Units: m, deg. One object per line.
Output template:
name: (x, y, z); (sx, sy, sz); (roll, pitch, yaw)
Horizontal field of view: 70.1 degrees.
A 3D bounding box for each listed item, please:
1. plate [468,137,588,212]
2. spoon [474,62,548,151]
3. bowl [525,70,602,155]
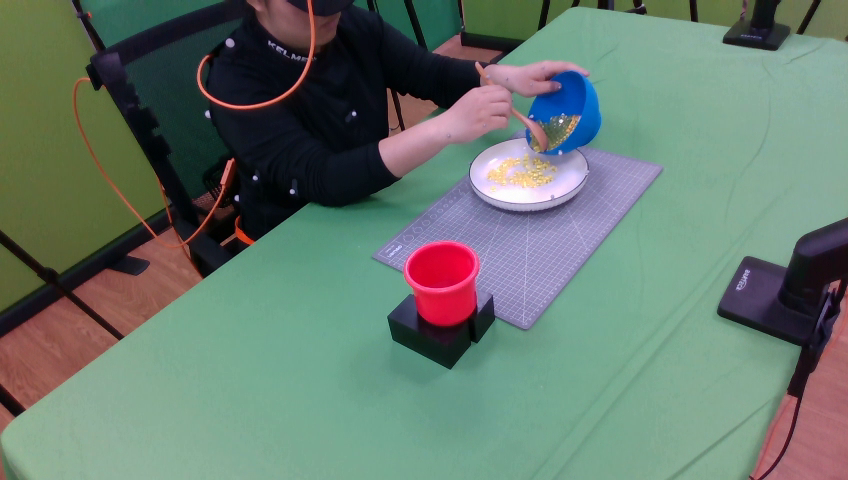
plate: (0.182, -0.111, 1.064); (0.207, 0.039, 0.206); (-5, 40, 5)
spoon: (0.149, -0.225, 1.022); (0.021, 0.194, 0.041); (-37, 17, 37)
bowl: (0.258, -0.212, 1.063); (0.077, 0.151, 0.150); (17, 30, -30)
